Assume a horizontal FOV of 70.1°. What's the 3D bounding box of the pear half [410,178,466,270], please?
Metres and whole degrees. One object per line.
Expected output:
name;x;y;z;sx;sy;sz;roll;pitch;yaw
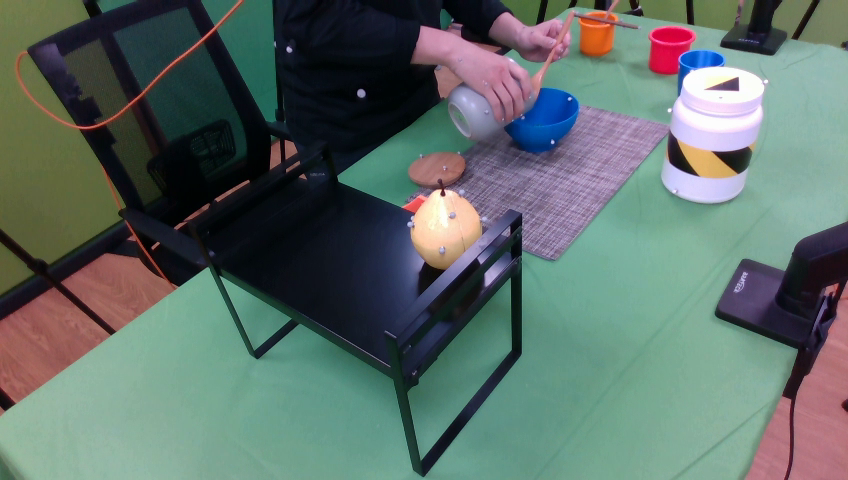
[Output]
pear half;0.011;-0.019;0.654;0.056;0.110;0.076;-16;37;-9

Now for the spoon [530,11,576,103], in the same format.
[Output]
spoon;0.229;-0.331;1.108;0.041;0.022;0.193;29;91;46

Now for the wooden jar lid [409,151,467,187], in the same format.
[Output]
wooden jar lid;0.026;-0.131;1.124;0.108;0.021;0.108;-8;35;6

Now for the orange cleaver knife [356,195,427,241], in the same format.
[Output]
orange cleaver knife;-0.037;-0.029;0.973;0.210;0.077;0.012;-8;33;50

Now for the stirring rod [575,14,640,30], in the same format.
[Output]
stirring rod;0.419;-0.508;1.404;0.174;0.006;0.014;28;55;35

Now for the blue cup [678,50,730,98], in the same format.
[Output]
blue cup;0.542;-0.310;1.194;0.092;0.101;0.092;-6;41;6

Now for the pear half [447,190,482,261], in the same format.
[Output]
pear half;0.046;-0.020;0.664;0.031;0.088;0.070;-17;38;-9

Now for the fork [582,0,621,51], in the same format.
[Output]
fork;0.446;-0.539;1.438;0.207;0.019;0.028;-57;36;12

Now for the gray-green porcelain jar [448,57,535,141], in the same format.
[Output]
gray-green porcelain jar;0.114;-0.245;1.069;0.127;0.106;0.105;-34;46;-10

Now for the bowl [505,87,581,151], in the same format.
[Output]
bowl;0.220;-0.223;1.156;0.151;0.077;0.150;-4;40;4

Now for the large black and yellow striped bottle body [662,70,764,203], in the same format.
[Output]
large black and yellow striped bottle body;0.464;-0.166;0.976;0.131;0.185;0.130;-5;41;5

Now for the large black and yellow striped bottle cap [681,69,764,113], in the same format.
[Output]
large black and yellow striped bottle cap;0.453;-0.229;0.921;0.115;0.019;0.114;-4;39;4
